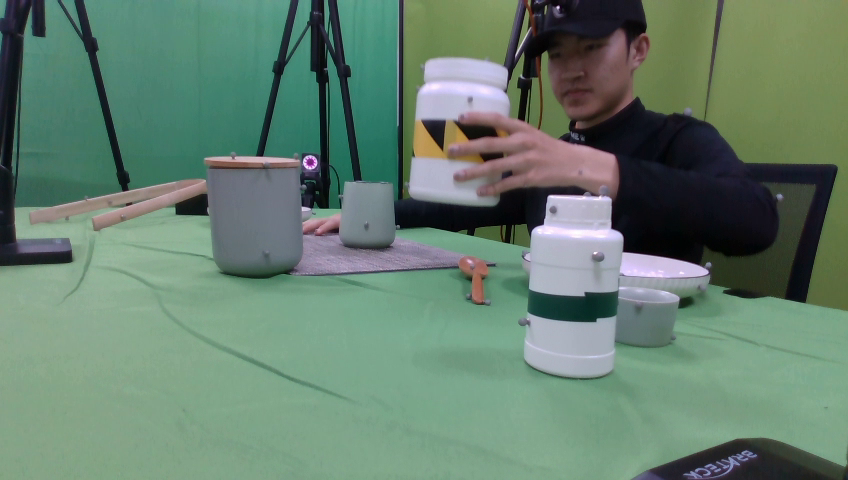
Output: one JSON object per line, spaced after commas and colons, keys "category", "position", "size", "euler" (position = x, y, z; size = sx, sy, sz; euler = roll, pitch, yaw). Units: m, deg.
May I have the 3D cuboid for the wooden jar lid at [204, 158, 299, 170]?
{"category": "wooden jar lid", "position": [-0.202, -0.086, 0.714], "size": [0.108, 0.020, 0.108], "euler": [3, 11, 0]}

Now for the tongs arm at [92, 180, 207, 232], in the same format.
{"category": "tongs arm", "position": [-0.534, -0.075, 1.222], "size": [0.028, 0.028, 0.388], "euler": [-2, 15, 12]}

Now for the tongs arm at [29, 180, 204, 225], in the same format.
{"category": "tongs arm", "position": [-0.609, -0.083, 1.245], "size": [0.050, 0.026, 0.386], "euler": [5, 16, 23]}

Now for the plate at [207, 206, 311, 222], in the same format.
{"category": "plate", "position": [-0.342, -0.050, 1.259], "size": [0.208, 0.039, 0.207], "euler": [2, 7, 0]}

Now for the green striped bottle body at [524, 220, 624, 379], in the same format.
{"category": "green striped bottle body", "position": [0.104, 0.031, 0.422], "size": [0.063, 0.119, 0.063], "euler": [2, 7, 0]}

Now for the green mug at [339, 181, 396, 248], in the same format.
{"category": "green mug", "position": [-0.097, -0.044, 0.995], "size": [0.093, 0.105, 0.125], "euler": [-1, 8, -21]}

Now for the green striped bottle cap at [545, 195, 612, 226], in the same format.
{"category": "green striped bottle cap", "position": [0.106, -0.020, 0.414], "size": [0.044, 0.020, 0.044], "euler": [2, 4, 0]}

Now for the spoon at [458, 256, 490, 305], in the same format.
{"category": "spoon", "position": [0.059, 0.044, 0.695], "size": [0.041, 0.021, 0.194], "euler": [17, 7, 1]}

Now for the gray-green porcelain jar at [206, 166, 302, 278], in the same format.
{"category": "gray-green porcelain jar", "position": [-0.201, -0.024, 0.725], "size": [0.106, 0.126, 0.106], "euler": [-1, 9, 1]}

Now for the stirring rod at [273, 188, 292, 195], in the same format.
{"category": "stirring rod", "position": [-0.353, -0.122, 1.519], "size": [0.006, 0.014, 0.176], "euler": [2, 7, 1]}

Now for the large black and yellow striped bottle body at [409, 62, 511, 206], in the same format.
{"category": "large black and yellow striped bottle body", "position": [0.051, -0.143, 0.839], "size": [0.131, 0.184, 0.130], "euler": [5, 6, 0]}

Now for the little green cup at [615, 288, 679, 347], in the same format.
{"category": "little green cup", "position": [0.180, 0.064, 0.506], "size": [0.061, 0.038, 0.061], "euler": [2, 7, 0]}

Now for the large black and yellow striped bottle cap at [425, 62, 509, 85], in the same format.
{"category": "large black and yellow striped bottle cap", "position": [0.059, -0.224, 0.828], "size": [0.115, 0.019, 0.115], "euler": [4, 5, 0]}

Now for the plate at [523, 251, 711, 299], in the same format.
{"category": "plate", "position": [0.219, 0.041, 0.706], "size": [0.209, 0.038, 0.209], "euler": [2, 7, 0]}
